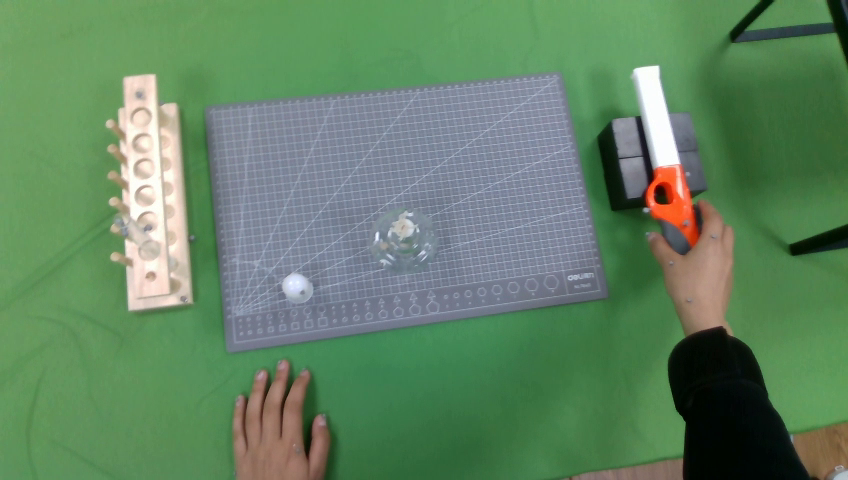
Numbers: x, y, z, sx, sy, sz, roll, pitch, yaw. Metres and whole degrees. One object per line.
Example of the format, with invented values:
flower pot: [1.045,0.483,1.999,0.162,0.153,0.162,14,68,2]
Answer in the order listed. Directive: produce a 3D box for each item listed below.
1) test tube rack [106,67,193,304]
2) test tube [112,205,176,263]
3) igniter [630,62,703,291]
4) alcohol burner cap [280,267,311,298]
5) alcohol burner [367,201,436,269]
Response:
test tube rack: [-0.308,-0.057,0.666,0.067,0.085,0.241,-7,79,-6]
test tube: [-0.277,-0.003,0.607,0.017,0.151,0.017,2,73,-6]
igniter: [0.282,-0.078,0.708,0.057,0.025,0.275,-7,78,0]
alcohol burner cap: [-0.145,0.046,0.679,0.034,0.048,0.033,1,77,-5]
alcohol burner: [-0.024,-0.009,0.666,0.078,0.119,0.077,1,79,-4]
